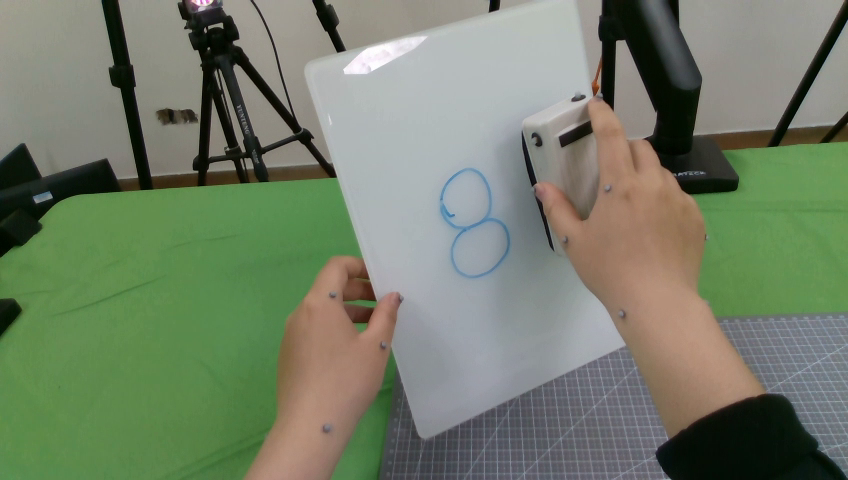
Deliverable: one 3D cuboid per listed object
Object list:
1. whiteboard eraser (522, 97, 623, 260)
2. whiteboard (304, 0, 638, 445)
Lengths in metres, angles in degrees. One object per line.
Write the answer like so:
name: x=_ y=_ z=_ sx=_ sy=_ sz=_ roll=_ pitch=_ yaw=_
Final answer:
whiteboard eraser: x=0.111 y=-0.045 z=0.456 sx=0.055 sy=0.113 sz=0.041 roll=-27 pitch=23 yaw=-17
whiteboard: x=0.035 y=-0.024 z=0.534 sx=0.217 sy=0.307 sz=0.143 roll=-20 pitch=17 yaw=-15
